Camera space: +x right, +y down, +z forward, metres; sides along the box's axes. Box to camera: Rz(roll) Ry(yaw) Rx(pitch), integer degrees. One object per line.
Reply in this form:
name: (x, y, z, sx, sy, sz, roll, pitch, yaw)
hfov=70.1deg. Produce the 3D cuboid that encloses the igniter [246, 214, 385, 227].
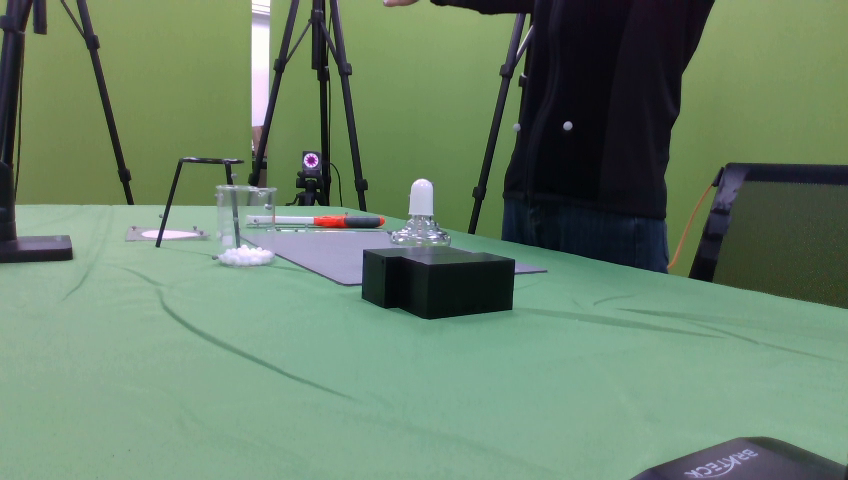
igniter: (-0.214, -0.040, 1.216, 0.278, 0.025, 0.057, 0, -2, -23)

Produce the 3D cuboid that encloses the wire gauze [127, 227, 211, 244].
wire gauze: (-0.420, -0.010, 0.999, 0.122, 0.011, 0.124, -2, 10, -24)

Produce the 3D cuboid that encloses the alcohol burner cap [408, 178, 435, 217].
alcohol burner cap: (-0.002, -0.053, 0.746, 0.034, 0.048, 0.034, 2, 3, 0)

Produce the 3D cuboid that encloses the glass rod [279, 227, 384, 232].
glass rod: (-0.175, -0.021, 1.161, 0.200, 0.008, 0.008, 1, 7, -15)

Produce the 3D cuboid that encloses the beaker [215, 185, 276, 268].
beaker: (-0.226, -0.019, 0.773, 0.074, 0.100, 0.084, 5, 7, 14)

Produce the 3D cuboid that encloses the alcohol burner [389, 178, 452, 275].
alcohol burner: (-0.004, -0.017, 0.749, 0.078, 0.119, 0.078, 1, 9, 0)

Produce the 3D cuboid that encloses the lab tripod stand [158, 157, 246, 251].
lab tripod stand: (-0.314, -0.055, 0.891, 0.148, 0.131, 0.148, 2, 9, 0)
